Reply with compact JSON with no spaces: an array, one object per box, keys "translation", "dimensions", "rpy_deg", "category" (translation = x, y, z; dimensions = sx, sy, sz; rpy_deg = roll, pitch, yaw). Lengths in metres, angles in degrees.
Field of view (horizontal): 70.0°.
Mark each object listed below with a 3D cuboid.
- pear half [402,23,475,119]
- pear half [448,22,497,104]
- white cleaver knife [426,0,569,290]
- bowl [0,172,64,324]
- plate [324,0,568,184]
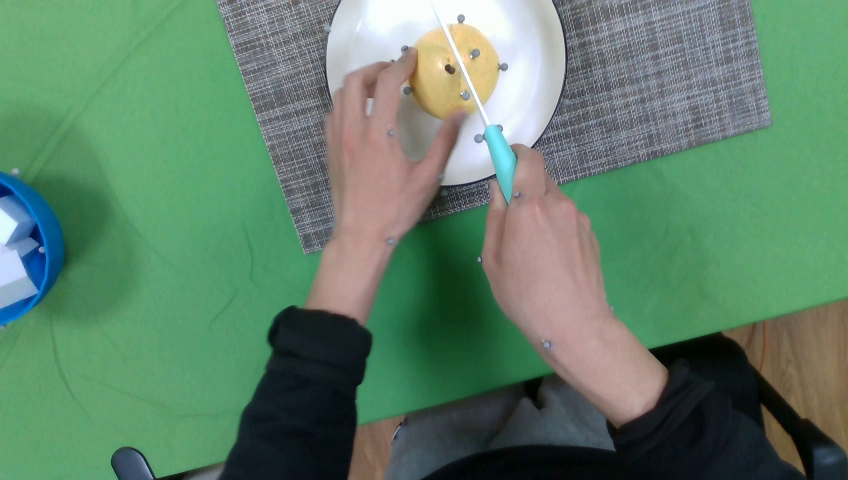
[{"translation":[0.009,-0.133,0.490],"dimensions":[0.056,0.109,0.076],"rpy_deg":[-24,96,8],"category":"pear half"},{"translation":[0.043,-0.148,0.494],"dimensions":[0.031,0.088,0.070],"rpy_deg":[-24,97,9],"category":"pear half"},{"translation":[0.041,-0.093,0.431],"dimensions":[0.021,0.065,0.287],"rpy_deg":[-23,100,11],"category":"white cleaver knife"},{"translation":[-0.406,-0.001,0.577],"dimensions":[0.151,0.076,0.152],"rpy_deg":[1,103,4],"category":"bowl"},{"translation":[0.019,-0.155,0.530],"dimensions":[0.207,0.039,0.208],"rpy_deg":[1,104,4],"category":"plate"}]
